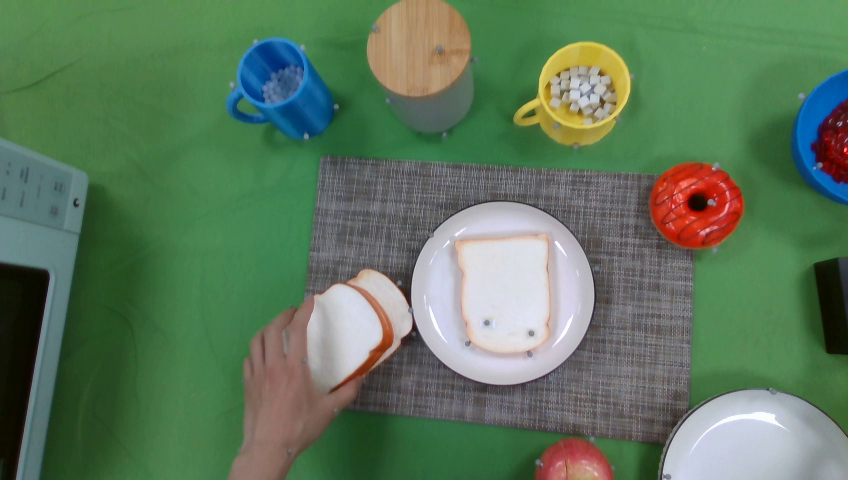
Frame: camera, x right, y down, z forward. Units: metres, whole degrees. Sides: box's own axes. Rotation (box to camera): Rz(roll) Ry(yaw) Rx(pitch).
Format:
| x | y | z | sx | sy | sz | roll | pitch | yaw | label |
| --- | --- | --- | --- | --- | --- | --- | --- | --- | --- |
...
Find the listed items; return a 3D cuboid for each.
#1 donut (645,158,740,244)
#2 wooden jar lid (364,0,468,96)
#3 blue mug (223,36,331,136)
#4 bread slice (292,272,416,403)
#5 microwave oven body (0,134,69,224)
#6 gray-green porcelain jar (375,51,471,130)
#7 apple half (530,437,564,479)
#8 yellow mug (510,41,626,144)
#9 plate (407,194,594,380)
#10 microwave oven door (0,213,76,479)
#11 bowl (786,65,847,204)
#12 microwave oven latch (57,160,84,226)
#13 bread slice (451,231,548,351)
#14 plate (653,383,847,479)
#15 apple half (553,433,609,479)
| x | y | z | sx | sy | sz | roll | pitch | yaw | label |
| --- | --- | --- | --- | --- | --- | --- | --- | --- | --- |
| 0.297 | -0.043 | 0.674 | 0.099 | 0.048 | 0.099 | -1 | 83 | 7 | donut |
| -0.008 | -0.199 | 0.630 | 0.108 | 0.021 | 0.108 | -1 | 80 | 7 | wooden jar lid |
| -0.179 | -0.173 | 0.720 | 0.116 | 0.106 | 0.082 | -22 | 80 | 4 | blue mug |
| -0.070 | 0.105 | 0.699 | 0.105 | 0.019 | 0.131 | 38 | 86 | 1 | bread slice |
| -0.621 | 0.090 | 0.652 | 0.325 | 0.261 | 0.440 | 5 | 83 | 7 | microwave oven body |
| 0.000 | -0.189 | 0.691 | 0.106 | 0.127 | 0.105 | -1 | 82 | 7 | gray-green porcelain jar |
| 0.128 | 0.249 | 0.642 | 0.033 | 0.081 | 0.081 | -3 | 81 | 2 | apple half |
| 0.162 | -0.163 | 0.700 | 0.131 | 0.064 | 0.099 | -19 | 80 | 4 | yellow mug |
| 0.085 | 0.053 | 0.689 | 0.207 | 0.039 | 0.207 | -1 | 82 | 7 | plate |
| -0.482 | 0.143 | 0.624 | 0.039 | 0.245 | 0.354 | 4 | 82 | 8 | microwave oven door |
| 0.458 | -0.104 | 0.650 | 0.151 | 0.077 | 0.151 | -1 | 82 | 7 | bowl |
| -0.446 | -0.059 | 0.750 | 0.030 | 0.029 | 0.079 | 7 | 84 | 7 | microwave oven latch |
| 0.091 | 0.058 | 0.689 | 0.107 | 0.018 | 0.134 | -7 | 81 | 6 | bread slice |
| 0.345 | 0.255 | 0.634 | 0.209 | 0.038 | 0.208 | -1 | 82 | 7 | plate |
| 0.167 | 0.245 | 0.640 | 0.053 | 0.075 | 0.080 | -4 | 80 | 0 | apple half |
